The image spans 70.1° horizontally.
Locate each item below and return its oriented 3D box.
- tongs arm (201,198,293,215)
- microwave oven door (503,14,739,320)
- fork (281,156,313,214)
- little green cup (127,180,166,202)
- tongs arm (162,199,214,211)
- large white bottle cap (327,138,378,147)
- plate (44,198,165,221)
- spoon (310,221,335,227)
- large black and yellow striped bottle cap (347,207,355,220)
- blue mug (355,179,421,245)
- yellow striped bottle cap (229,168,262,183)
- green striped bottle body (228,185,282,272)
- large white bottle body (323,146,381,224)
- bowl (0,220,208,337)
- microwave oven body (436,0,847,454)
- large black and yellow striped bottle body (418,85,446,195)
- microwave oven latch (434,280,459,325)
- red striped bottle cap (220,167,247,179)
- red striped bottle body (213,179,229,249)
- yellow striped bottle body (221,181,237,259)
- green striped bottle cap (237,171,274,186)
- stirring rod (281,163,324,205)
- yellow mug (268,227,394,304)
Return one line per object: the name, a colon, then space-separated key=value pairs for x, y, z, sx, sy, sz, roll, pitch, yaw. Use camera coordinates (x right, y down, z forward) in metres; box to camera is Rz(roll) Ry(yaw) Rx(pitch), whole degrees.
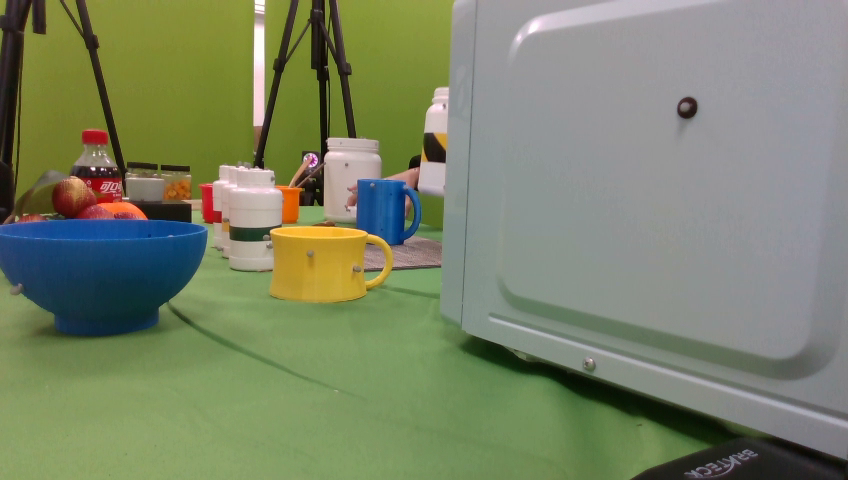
tongs arm: x=-0.423 y=-0.084 z=1.472 sx=0.050 sy=0.026 sz=0.386 roll=2 pitch=6 yaw=21
microwave oven door: x=0.218 y=-0.065 z=0.600 sx=0.358 sy=0.243 sz=0.039 roll=-4 pitch=10 yaw=-41
fork: x=-0.289 y=-0.116 z=1.320 sx=0.028 sy=0.019 sz=0.207 roll=-1 pitch=48 yaw=27
little green cup: x=-0.486 y=-0.086 z=1.062 sx=0.061 sy=0.038 sz=0.061 roll=0 pitch=7 yaw=0
tongs arm: x=-0.504 y=-0.091 z=1.513 sx=0.028 sy=0.028 sz=0.389 roll=-1 pitch=4 yaw=37
large white bottle cap: x=-0.160 y=-0.218 z=1.357 sx=0.115 sy=0.018 sz=0.115 roll=2 pitch=8 yaw=0
plate: x=-0.617 y=-0.056 z=1.179 sx=0.209 sy=0.038 sz=0.209 roll=3 pitch=7 yaw=0
spoon: x=-0.185 y=-0.027 z=1.131 sx=0.041 sy=0.021 sz=0.193 roll=-19 pitch=6 yaw=2
large black and yellow striped bottle cap: x=-0.097 y=-0.053 z=1.217 sx=0.115 sy=0.019 sz=0.115 roll=2 pitch=8 yaw=0
blue mug: x=-0.058 y=-0.046 z=1.004 sx=0.116 sy=0.106 sz=0.082 roll=6 pitch=9 yaw=24
yellow striped bottle cap: x=-0.240 y=-0.087 z=0.816 sx=0.044 sy=0.018 sz=0.044 roll=-2 pitch=5 yaw=1
green striped bottle body: x=-0.208 y=-0.023 z=0.745 sx=0.063 sy=0.119 sz=0.063 roll=2 pitch=7 yaw=0
large white bottle body: x=-0.163 y=-0.134 z=1.369 sx=0.131 sy=0.184 sz=0.130 roll=2 pitch=8 yaw=0
bowl: x=-0.251 y=0.029 z=0.479 sx=0.151 sy=0.077 sz=0.151 roll=2 pitch=7 yaw=0
microwave oven body: x=0.279 y=-0.040 z=0.464 sx=0.444 sy=0.260 sz=0.324 roll=-3 pitch=9 yaw=-41
large black and yellow striped bottle body: x=0.063 y=-0.167 z=1.051 sx=0.131 sy=0.184 sz=0.130 roll=7 pitch=6 yaw=0
microwave oven latch: x=0.044 y=0.045 z=0.470 sx=0.079 sy=0.029 sz=0.030 roll=-2 pitch=8 yaw=-39
red striped bottle cap: x=-0.281 y=-0.100 z=0.901 sx=0.044 sy=0.017 sz=0.044 roll=0 pitch=5 yaw=0
red striped bottle body: x=-0.283 y=-0.047 z=0.908 sx=0.063 sy=0.119 sz=0.063 roll=2 pitch=8 yaw=0
yellow striped bottle body: x=-0.244 y=-0.035 z=0.823 sx=0.063 sy=0.120 sz=0.063 roll=2 pitch=8 yaw=0
green striped bottle cap: x=-0.206 y=-0.075 z=0.737 sx=0.044 sy=0.020 sz=0.044 roll=1 pitch=7 yaw=0
stirring rod: x=-0.278 y=-0.105 z=1.293 sx=0.176 sy=0.006 sz=0.014 roll=-47 pitch=25 yaw=-18
yellow mug: x=-0.094 y=0.023 z=0.629 sx=0.131 sy=0.064 sz=0.099 roll=0 pitch=7 yaw=-22
